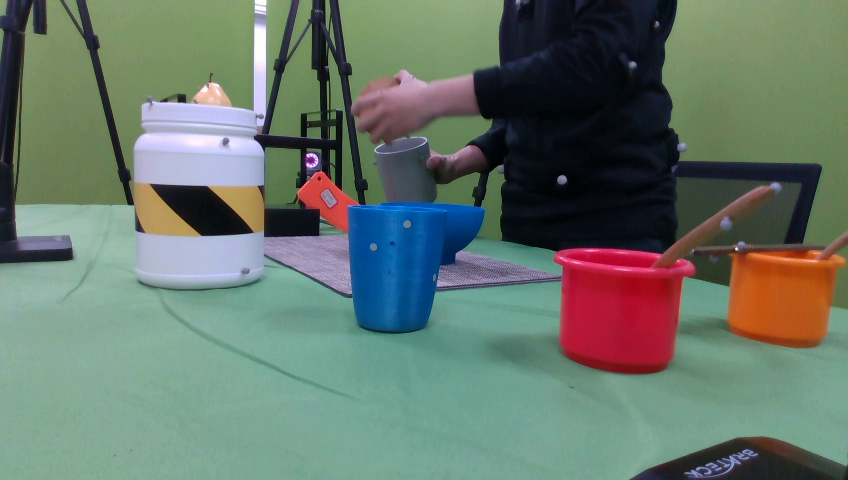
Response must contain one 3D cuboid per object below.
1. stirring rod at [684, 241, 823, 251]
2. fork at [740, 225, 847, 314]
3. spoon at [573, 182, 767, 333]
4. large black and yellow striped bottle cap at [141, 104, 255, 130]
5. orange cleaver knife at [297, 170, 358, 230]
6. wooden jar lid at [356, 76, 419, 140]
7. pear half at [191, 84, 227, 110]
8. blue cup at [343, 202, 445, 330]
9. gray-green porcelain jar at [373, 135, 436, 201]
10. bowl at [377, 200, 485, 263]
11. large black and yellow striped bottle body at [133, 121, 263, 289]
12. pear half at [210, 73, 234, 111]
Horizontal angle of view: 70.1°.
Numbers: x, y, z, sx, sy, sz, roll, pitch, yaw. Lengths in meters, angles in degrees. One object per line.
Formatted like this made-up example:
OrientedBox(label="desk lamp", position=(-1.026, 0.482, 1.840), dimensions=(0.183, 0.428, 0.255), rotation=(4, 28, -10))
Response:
OrientedBox(label="stirring rod", position=(0.289, 0.005, 0.525), dimensions=(0.177, 0.006, 0.014), rotation=(-1, 5, -26))
OrientedBox(label="fork", position=(0.323, 0.013, 0.485), dimensions=(0.028, 0.018, 0.207), rotation=(9, -38, -5))
OrientedBox(label="spoon", position=(0.158, 0.020, 0.412), dimensions=(0.042, 0.021, 0.193), rotation=(-2, -35, -21))
OrientedBox(label="large black and yellow striped bottle cap", position=(-0.241, -0.131, 0.650), dimensions=(0.115, 0.019, 0.115), rotation=(3, 8, 0))
OrientedBox(label="orange cleaver knife", position=(-0.149, -0.058, 1.170), dimensions=(0.212, 0.077, 0.012), rotation=(33, -15, -32))
OrientedBox(label="wooden jar lid", position=(-0.064, -0.229, 1.051), dimensions=(0.109, 0.108, 0.020), rotation=(0, 13, -13))
OrientedBox(label="pear half", position=(-0.406, -0.248, 1.128), dimensions=(0.070, 0.088, 0.031), rotation=(5, 7, 2))
OrientedBox(label="blue cup", position=(-0.027, 0.021, 0.510), dimensions=(0.093, 0.100, 0.092), rotation=(3, 5, 0))
OrientedBox(label="gray-green porcelain jar", position=(-0.034, -0.128, 1.174), dimensions=(0.106, 0.126, 0.105), rotation=(-9, 23, 4))
OrientedBox(label="bowl", position=(0.008, -0.012, 0.842), dimensions=(0.151, 0.077, 0.151), rotation=(3, 7, 0))
OrientedBox(label="large black and yellow striped bottle body", position=(-0.243, -0.048, 0.659), dimensions=(0.131, 0.184, 0.130), rotation=(2, 7, 0))
OrientedBox(label="pear half", position=(-0.402, -0.262, 1.162), dimensions=(0.076, 0.109, 0.056), rotation=(6, 7, 2))
